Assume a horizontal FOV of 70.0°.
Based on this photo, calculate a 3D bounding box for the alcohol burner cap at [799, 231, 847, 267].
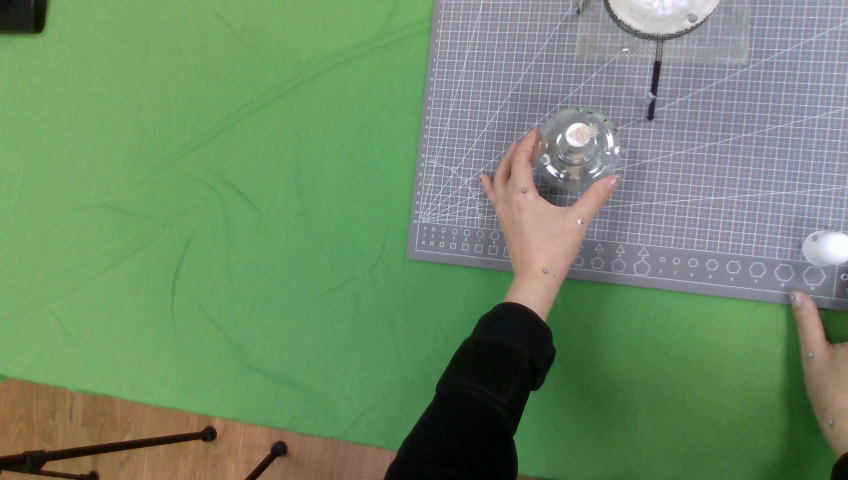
[{"bbox_3d":[0.351,0.007,0.524,0.034,0.048,0.034,0,88,14],"label":"alcohol burner cap"}]

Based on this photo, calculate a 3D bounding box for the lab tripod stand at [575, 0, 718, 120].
[{"bbox_3d":[0.196,-0.190,0.521,0.148,0.132,0.148,0,90,13],"label":"lab tripod stand"}]

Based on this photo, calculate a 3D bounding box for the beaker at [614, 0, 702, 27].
[{"bbox_3d":[0.162,-0.195,0.412,0.083,0.100,0.074,20,94,15],"label":"beaker"}]

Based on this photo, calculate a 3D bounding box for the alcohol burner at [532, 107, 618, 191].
[{"bbox_3d":[0.135,-0.085,0.544,0.078,0.119,0.078,-1,87,13],"label":"alcohol burner"}]

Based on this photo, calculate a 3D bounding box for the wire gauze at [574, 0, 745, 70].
[{"bbox_3d":[0.180,-0.193,0.457,0.125,0.011,0.121,6,94,12],"label":"wire gauze"}]
